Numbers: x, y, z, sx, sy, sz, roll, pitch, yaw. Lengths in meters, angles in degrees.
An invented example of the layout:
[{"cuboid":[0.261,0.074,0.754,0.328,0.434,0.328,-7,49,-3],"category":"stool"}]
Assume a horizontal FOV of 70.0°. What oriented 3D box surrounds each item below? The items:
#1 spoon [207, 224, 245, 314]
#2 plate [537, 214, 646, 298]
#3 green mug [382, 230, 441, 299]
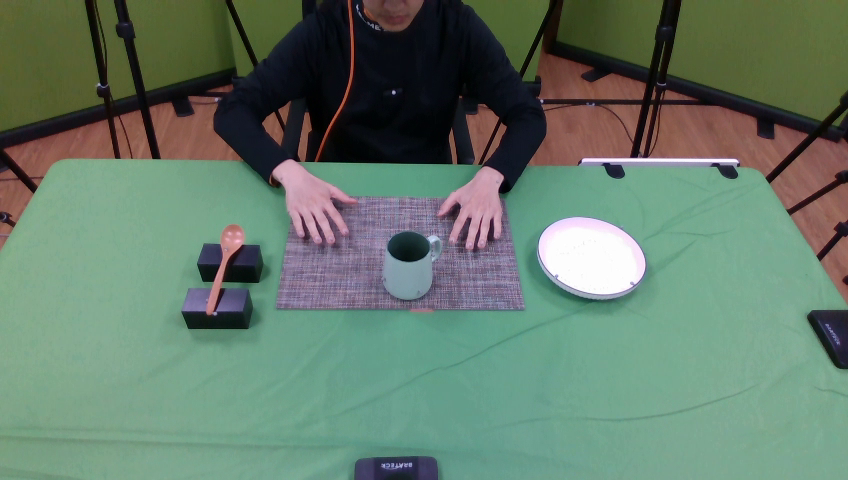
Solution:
[{"cuboid":[-0.350,0.047,1.055,0.042,0.022,0.192,15,45,-14],"category":"spoon"},{"cuboid":[0.321,0.035,1.176,0.209,0.038,0.208,2,47,-2],"category":"plate"},{"cuboid":[-0.017,0.037,1.097,0.125,0.105,0.092,-34,56,-31],"category":"green mug"}]
